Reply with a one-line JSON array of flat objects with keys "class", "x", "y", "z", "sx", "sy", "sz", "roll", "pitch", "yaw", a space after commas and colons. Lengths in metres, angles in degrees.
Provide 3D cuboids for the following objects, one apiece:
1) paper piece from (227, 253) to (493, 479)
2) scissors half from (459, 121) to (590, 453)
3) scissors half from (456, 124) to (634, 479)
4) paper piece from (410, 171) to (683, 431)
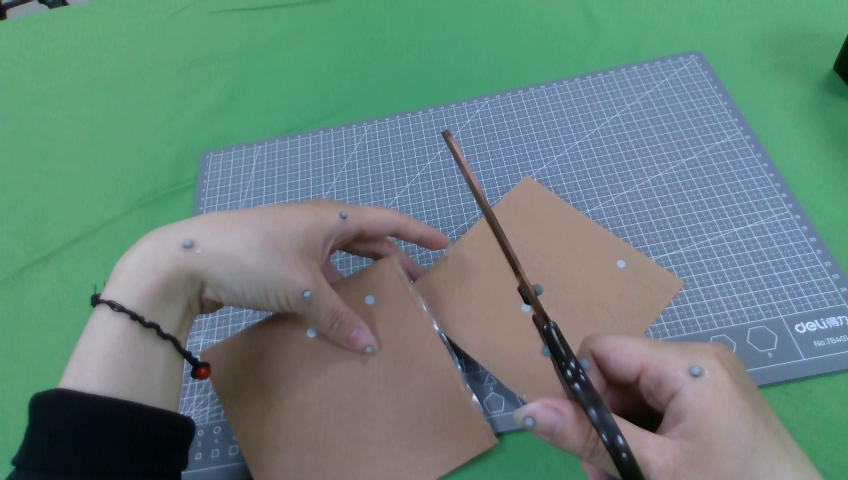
[{"class": "paper piece", "x": -0.047, "y": 0.093, "z": 0.364, "sx": 0.138, "sy": 0.009, "sz": 0.134, "roll": -33, "pitch": 57, "yaw": 7}, {"class": "scissors half", "x": 0.051, "y": 0.030, "z": 0.261, "sx": 0.013, "sy": 0.176, "sz": 0.040, "roll": -23, "pitch": 18, "yaw": 8}, {"class": "scissors half", "x": 0.051, "y": 0.034, "z": 0.242, "sx": 0.013, "sy": 0.040, "sz": 0.175, "roll": -25, "pitch": 93, "yaw": 3}, {"class": "paper piece", "x": 0.078, "y": 0.031, "z": 0.401, "sx": 0.134, "sy": 0.004, "sz": 0.135, "roll": 39, "pitch": 70, "yaw": 22}]
